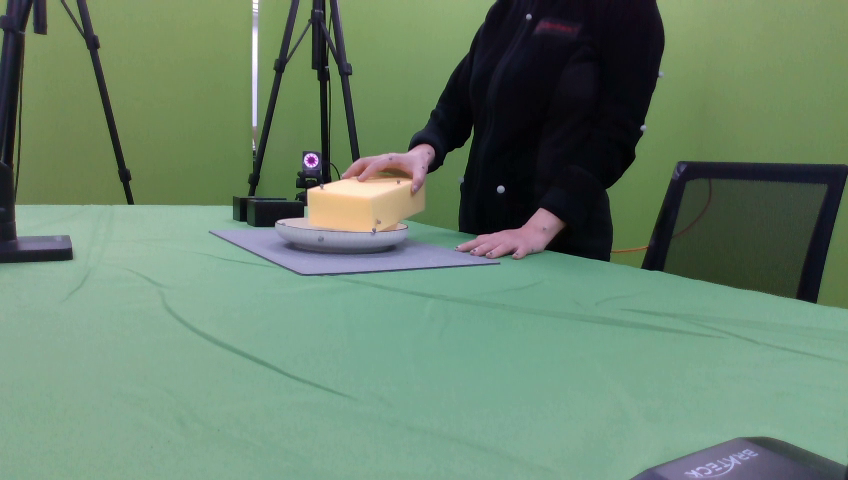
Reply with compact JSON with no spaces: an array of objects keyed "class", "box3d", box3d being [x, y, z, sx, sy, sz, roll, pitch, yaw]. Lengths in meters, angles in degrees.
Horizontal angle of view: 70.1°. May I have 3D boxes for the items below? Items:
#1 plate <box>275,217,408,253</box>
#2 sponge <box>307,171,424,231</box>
[{"class":"plate","box3d":[-0.129,-0.009,0.954,0.209,0.038,0.209,2,7,0]},{"class":"sponge","box3d":[-0.092,-0.069,1.030,0.118,0.061,0.207,8,17,22]}]
